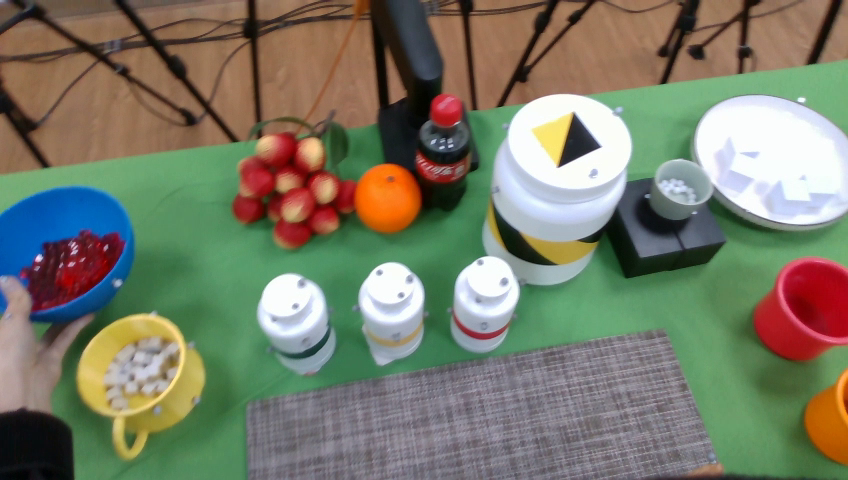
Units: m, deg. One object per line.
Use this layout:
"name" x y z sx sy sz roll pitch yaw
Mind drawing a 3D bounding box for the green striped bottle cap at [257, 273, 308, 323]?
"green striped bottle cap" -0.130 0.053 0.555 0.044 0.020 0.044 1 58 -1

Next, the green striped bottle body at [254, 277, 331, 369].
"green striped bottle body" -0.129 0.079 0.600 0.063 0.120 0.062 1 59 -1

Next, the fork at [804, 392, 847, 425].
"fork" 0.456 0.170 0.542 0.028 0.019 0.206 -43 25 -28

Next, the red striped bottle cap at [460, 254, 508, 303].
"red striped bottle cap" 0.057 0.036 0.569 0.044 0.018 0.044 2 58 -3

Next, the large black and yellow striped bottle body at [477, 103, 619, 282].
"large black and yellow striped bottle body" 0.128 -0.050 0.644 0.131 0.185 0.129 0 60 0

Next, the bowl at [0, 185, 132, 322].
"bowl" -0.368 0.026 0.621 0.151 0.077 0.150 1 57 -1

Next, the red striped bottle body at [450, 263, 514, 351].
"red striped bottle body" 0.058 0.063 0.614 0.063 0.121 0.062 -2 58 3

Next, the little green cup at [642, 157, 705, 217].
"little green cup" 0.276 -0.057 0.677 0.061 0.039 0.061 1 58 -2

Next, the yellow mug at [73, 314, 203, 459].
"yellow mug" -0.279 0.145 0.591 0.100 0.064 0.129 -1 60 0

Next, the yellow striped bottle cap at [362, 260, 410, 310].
"yellow striped bottle cap" -0.036 0.041 0.564 0.044 0.019 0.044 1 61 -2

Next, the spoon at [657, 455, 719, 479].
"spoon" 0.135 0.211 0.465 0.194 0.022 0.041 -32 70 19

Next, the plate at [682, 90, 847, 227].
"plate" 0.428 -0.101 0.765 0.209 0.038 0.207 1 60 -1

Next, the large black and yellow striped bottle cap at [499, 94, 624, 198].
"large black and yellow striped bottle cap" 0.129 -0.091 0.570 0.115 0.019 0.114 0 59 0

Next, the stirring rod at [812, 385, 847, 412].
"stirring rod" 0.427 0.175 0.545 0.014 0.006 0.175 -15 18 -11

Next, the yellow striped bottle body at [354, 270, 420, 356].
"yellow striped bottle body" -0.036 0.068 0.608 0.063 0.121 0.062 0 60 0
